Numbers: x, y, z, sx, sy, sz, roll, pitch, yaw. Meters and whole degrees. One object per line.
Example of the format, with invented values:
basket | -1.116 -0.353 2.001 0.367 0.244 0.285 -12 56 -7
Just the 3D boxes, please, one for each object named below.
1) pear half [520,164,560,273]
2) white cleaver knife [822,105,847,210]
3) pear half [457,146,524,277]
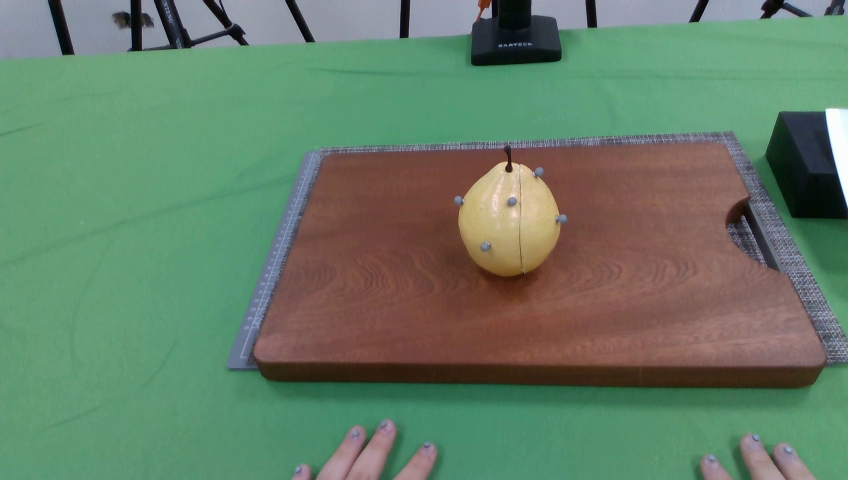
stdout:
pear half | 0.088 -0.017 0.463 0.031 0.089 0.070 -1 35 7
white cleaver knife | 0.368 -0.004 0.470 0.065 0.022 0.284 0 53 13
pear half | 0.052 -0.025 0.463 0.056 0.111 0.075 -1 39 7
